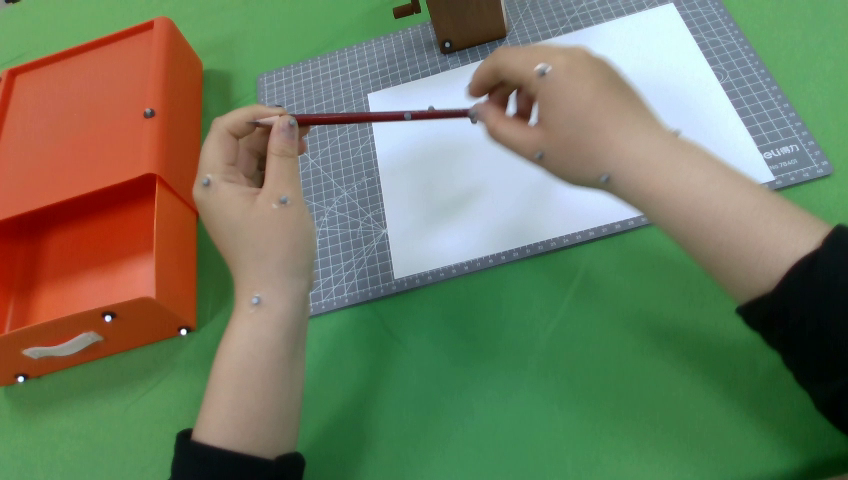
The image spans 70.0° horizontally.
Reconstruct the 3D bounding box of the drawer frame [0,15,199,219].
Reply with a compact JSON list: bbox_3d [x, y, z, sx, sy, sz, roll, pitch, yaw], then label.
[{"bbox_3d":[-0.330,-0.096,0.596,0.201,0.083,0.211,-17,57,6],"label":"drawer frame"}]

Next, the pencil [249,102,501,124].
[{"bbox_3d":[-0.025,-0.089,0.425,0.195,0.012,0.012,-9,52,-30],"label":"pencil"}]

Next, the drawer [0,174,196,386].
[{"bbox_3d":[-0.307,0.002,0.536,0.194,0.074,0.209,-17,58,6],"label":"drawer"}]

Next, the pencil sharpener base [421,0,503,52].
[{"bbox_3d":[0.026,-0.239,0.562,0.076,0.108,0.061,-14,58,8],"label":"pencil sharpener base"}]

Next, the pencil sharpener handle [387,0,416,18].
[{"bbox_3d":[-0.026,-0.234,0.559,0.030,0.068,0.035,-14,64,8],"label":"pencil sharpener handle"}]
